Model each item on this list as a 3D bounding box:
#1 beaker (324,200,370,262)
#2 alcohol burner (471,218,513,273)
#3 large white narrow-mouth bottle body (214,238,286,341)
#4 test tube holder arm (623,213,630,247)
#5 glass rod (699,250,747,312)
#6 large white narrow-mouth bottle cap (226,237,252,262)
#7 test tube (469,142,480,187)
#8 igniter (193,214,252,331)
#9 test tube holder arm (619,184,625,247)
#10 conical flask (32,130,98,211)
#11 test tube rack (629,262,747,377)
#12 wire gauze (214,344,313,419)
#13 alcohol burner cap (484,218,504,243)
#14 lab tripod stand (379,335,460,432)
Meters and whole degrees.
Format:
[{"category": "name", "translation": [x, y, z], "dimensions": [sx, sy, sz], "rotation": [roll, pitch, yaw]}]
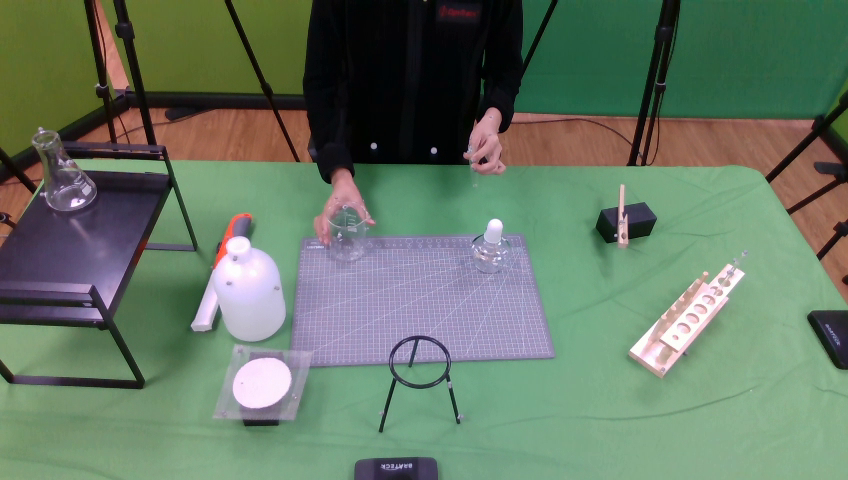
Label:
[{"category": "beaker", "translation": [-0.143, -0.015, 1.142], "dimensions": [0.084, 0.101, 0.073], "rotation": [1, 47, -4]}, {"category": "alcohol burner", "translation": [0.128, 0.005, 1.132], "dimensions": [0.078, 0.120, 0.077], "rotation": [0, 47, 0]}, {"category": "large white narrow-mouth bottle body", "translation": [-0.285, 0.073, 0.986], "dimensions": [0.102, 0.195, 0.101], "rotation": [2, 46, -2]}, {"category": "test tube holder arm", "translation": [0.393, -0.020, 1.179], "dimensions": [0.010, 0.015, 0.087], "rotation": [14, 46, 1]}, {"category": "glass rod", "translation": [0.500, 0.074, 1.021], "dimensions": [0.008, 0.201, 0.008], "rotation": [0, 55, 1]}, {"category": "large white narrow-mouth bottle cap", "translation": [-0.282, 0.014, 0.923], "dimensions": [0.038, 0.024, 0.037], "rotation": [2, 46, -2]}, {"category": "test tube", "translation": [0.099, -0.145, 1.187], "dimensions": [0.017, 0.151, 0.017], "rotation": [-3, 66, 7]}, {"category": "igniter", "translation": [-0.368, 0.050, 1.119], "dimensions": [0.057, 0.025, 0.275], "rotation": [-3, 46, 8]}, {"category": "test tube holder arm", "translation": [0.396, -0.053, 1.210], "dimensions": [0.013, 0.015, 0.177], "rotation": [14, 46, 2]}, {"category": "conical flask", "translation": [-0.565, -0.111, 0.944], "dimensions": [0.075, 0.122, 0.075], "rotation": [2, 46, -2]}, {"category": "test tube rack", "translation": [0.464, 0.126, 1.060], "dimensions": [0.242, 0.085, 0.066], "rotation": [-34, 56, -31]}, {"category": "wire gauze", "translation": [-0.241, 0.213, 0.916], "dimensions": [0.121, 0.011, 0.124], "rotation": [5, 46, 1]}, {"category": "alcohol burner cap", "translation": [0.130, -0.021, 1.106], "dimensions": [0.034, 0.048, 0.033], "rotation": [3, 51, -4]}, {"category": "lab tripod stand", "translation": [-0.010, 0.214, 0.912], "dimensions": [0.148, 0.132, 0.147], "rotation": [1, 45, 0]}]
